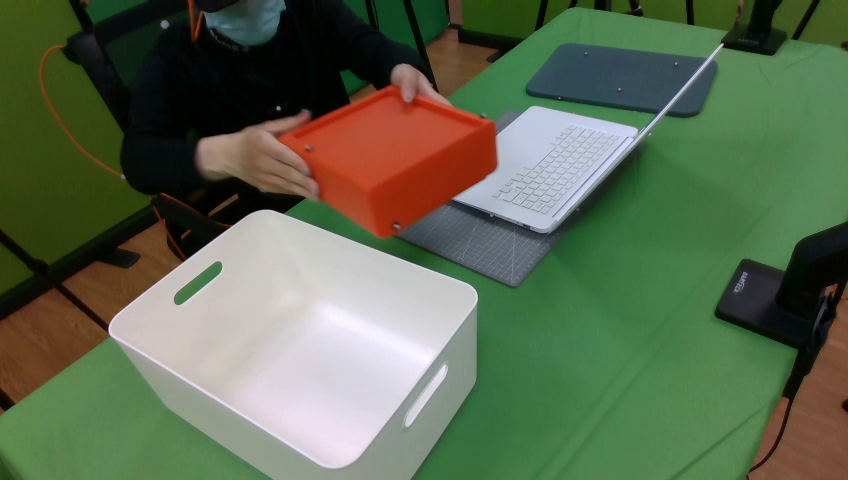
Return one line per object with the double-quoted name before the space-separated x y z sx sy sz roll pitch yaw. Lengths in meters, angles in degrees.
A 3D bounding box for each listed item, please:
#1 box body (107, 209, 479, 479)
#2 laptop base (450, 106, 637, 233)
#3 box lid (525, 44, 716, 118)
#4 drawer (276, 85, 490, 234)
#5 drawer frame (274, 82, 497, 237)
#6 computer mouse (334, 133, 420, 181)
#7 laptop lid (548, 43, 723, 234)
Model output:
"box body" -0.140 0.136 0.725 0.361 0.161 0.254 19 47 28
"laptop base" 0.210 -0.142 1.111 0.233 0.023 0.355 21 48 33
"box lid" 0.432 -0.360 1.341 0.369 0.015 0.263 16 45 24
"drawer" -0.053 -0.114 0.790 0.195 0.073 0.210 -32 43 -27
"drawer frame" -0.050 -0.115 0.785 0.202 0.083 0.211 -32 43 -28
"computer mouse" -0.064 -0.121 0.825 0.118 0.041 0.062 -29 40 -33
"laptop lid" 0.336 -0.160 0.956 0.013 0.241 0.358 42 54 8
